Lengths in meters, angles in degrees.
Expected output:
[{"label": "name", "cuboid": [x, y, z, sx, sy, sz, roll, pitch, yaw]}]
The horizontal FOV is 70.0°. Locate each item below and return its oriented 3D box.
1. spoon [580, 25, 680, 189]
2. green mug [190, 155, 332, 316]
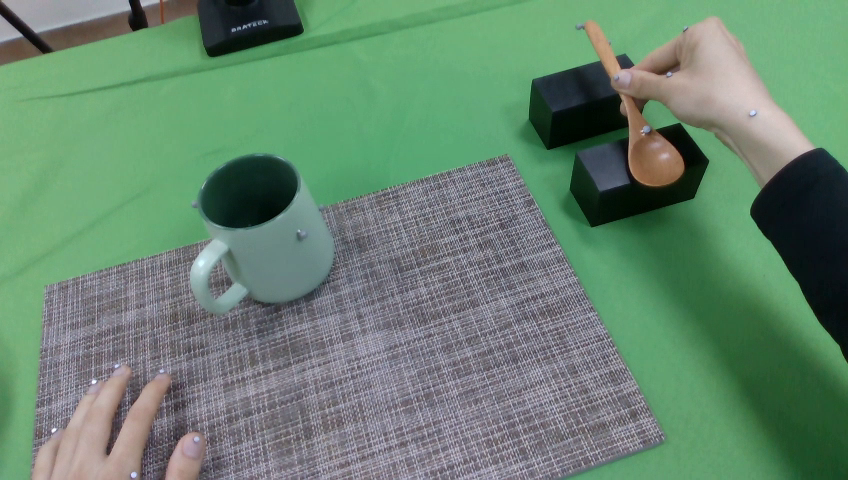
[{"label": "spoon", "cuboid": [0.175, -0.124, 0.534, 0.041, 0.022, 0.192, -19, 65, 12]}, {"label": "green mug", "cuboid": [-0.137, 0.006, 0.492, 0.092, 0.106, 0.125, 23, 60, 20]}]
